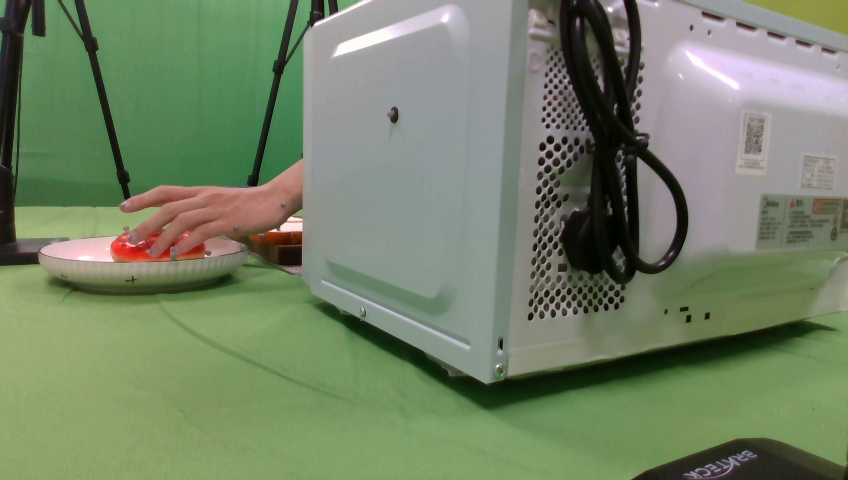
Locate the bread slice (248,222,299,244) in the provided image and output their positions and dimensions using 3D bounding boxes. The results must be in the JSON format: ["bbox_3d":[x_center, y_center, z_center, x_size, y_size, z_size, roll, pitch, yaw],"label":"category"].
[{"bbox_3d":[-0.174,-0.012,0.844,0.135,0.018,0.106,-6,11,-44],"label":"bread slice"}]

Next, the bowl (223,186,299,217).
[{"bbox_3d":[-0.330,-0.067,1.230,0.151,0.077,0.151,3,7,0],"label":"bowl"}]

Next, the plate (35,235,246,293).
[{"bbox_3d":[-0.305,0.025,0.668,0.208,0.039,0.207,2,7,0],"label":"plate"}]

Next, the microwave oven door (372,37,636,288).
[{"bbox_3d":[0.109,-0.080,0.686,0.358,0.243,0.039,-2,9,-33],"label":"microwave oven door"}]

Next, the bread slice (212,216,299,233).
[{"bbox_3d":[-0.256,-0.025,0.936,0.132,0.019,0.104,-3,8,-40],"label":"bread slice"}]

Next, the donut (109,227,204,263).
[{"bbox_3d":[-0.298,0.013,0.680,0.099,0.048,0.099,5,10,-1],"label":"donut"}]

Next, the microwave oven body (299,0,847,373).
[{"bbox_3d":[0.151,-0.055,0.542,0.444,0.260,0.324,-2,7,-33],"label":"microwave oven body"}]

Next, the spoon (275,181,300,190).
[{"bbox_3d":[-0.301,-0.101,1.260,0.041,0.021,0.194,12,29,33],"label":"spoon"}]

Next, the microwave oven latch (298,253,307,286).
[{"bbox_3d":[-0.081,0.027,0.582,0.079,0.029,0.030,-1,7,-31],"label":"microwave oven latch"}]
